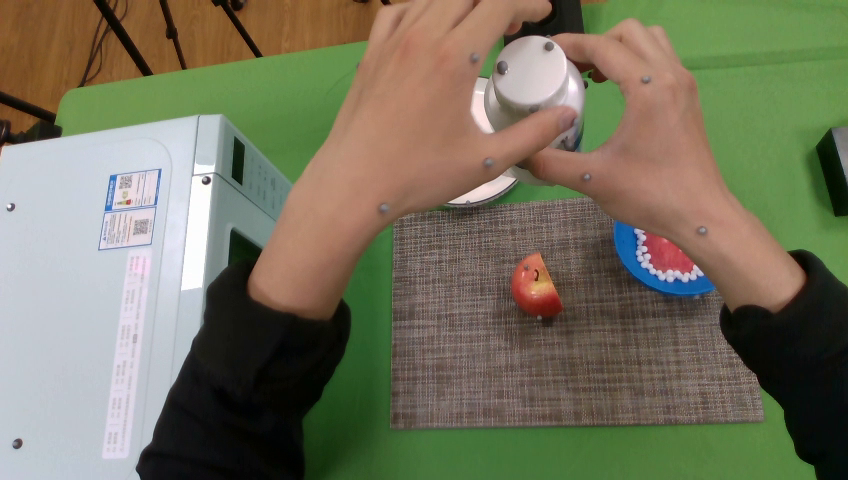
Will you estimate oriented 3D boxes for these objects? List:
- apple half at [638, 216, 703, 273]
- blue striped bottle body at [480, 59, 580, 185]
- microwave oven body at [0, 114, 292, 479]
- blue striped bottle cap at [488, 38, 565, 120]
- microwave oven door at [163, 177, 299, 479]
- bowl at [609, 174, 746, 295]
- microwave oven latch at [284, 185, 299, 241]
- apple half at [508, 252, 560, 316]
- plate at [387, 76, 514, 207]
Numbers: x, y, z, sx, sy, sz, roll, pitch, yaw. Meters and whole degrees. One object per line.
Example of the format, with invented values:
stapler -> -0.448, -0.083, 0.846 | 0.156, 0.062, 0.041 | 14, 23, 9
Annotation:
apple half -> 0.305, 0.002, 0.745 | 0.081, 0.033, 0.080 | -4, 69, 11
blue striped bottle body -> 0.074, -0.083, 0.410 | 0.063, 0.121, 0.063 | -3, 78, 14
microwave oven body -> -0.358, 0.112, 0.763 | 0.325, 0.262, 0.438 | -6, 71, 10
blue striped bottle cap -> 0.060, -0.095, 0.355 | 0.044, 0.021, 0.044 | -4, 75, 14
microwave oven door -> -0.215, 0.134, 0.718 | 0.039, 0.246, 0.353 | -7, 70, 11
bowl -> 0.305, 0.003, 0.749 | 0.151, 0.077, 0.150 | -4, 70, 12
microwave oven latch -> -0.199, -0.038, 0.884 | 0.030, 0.030, 0.078 | -6, 71, 10
apple half -> 0.134, 0.062, 0.771 | 0.053, 0.075, 0.080 | -24, 71, 8
plate -> 0.050, -0.140, 0.883 | 0.207, 0.039, 0.206 | -4, 71, 11
